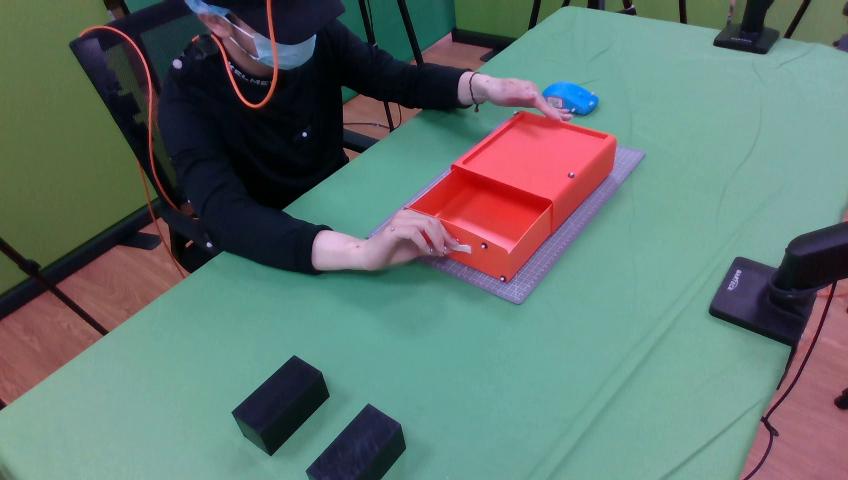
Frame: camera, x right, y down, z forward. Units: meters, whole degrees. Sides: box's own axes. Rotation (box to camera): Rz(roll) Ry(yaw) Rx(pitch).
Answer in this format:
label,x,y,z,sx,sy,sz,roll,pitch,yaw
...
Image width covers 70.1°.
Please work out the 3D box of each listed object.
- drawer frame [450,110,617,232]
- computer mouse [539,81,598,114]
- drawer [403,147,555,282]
label,x,y,z,sx,sy,sz,roll,pitch,yaw
drawer frame,0.187,-0.123,1.034,0.200,0.083,0.214,24,49,32
computer mouse,0.302,-0.300,1.263,0.116,0.041,0.063,26,49,27
drawer,0.109,-0.052,0.964,0.193,0.073,0.212,24,50,32
